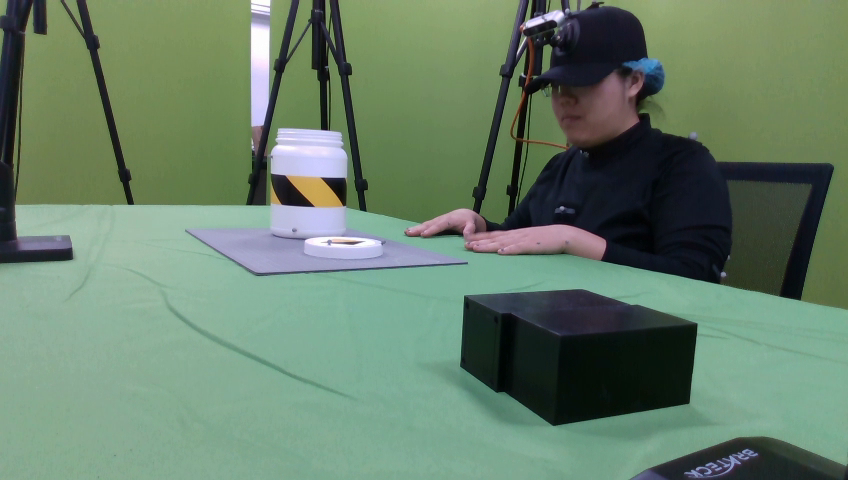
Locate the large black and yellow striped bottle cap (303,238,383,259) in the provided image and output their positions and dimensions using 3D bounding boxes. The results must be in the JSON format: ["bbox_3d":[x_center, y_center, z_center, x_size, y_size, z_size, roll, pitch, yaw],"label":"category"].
[{"bbox_3d":[-0.117,0.011,0.880,0.115,0.019,0.115,2,6,0],"label":"large black and yellow striped bottle cap"}]

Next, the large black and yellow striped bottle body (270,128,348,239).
[{"bbox_3d":[-0.200,-0.099,1.053,0.131,0.184,0.130,3,8,0],"label":"large black and yellow striped bottle body"}]
